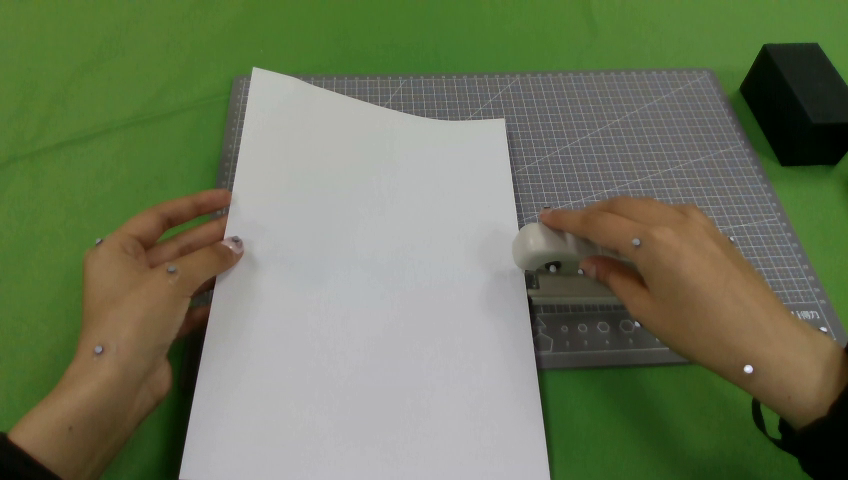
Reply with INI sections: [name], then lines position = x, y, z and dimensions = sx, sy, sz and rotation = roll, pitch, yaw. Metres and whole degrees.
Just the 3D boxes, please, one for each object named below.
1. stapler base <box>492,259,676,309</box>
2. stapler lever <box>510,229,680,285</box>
[stapler base]
position = 0.115, 0.027, 0.430
dimensions = 0.131, 0.024, 0.041
rotation = 1, 56, -4
[stapler lever]
position = 0.118, 0.012, 0.411
dimensions = 0.118, 0.040, 0.026
rotation = 0, 56, -3
